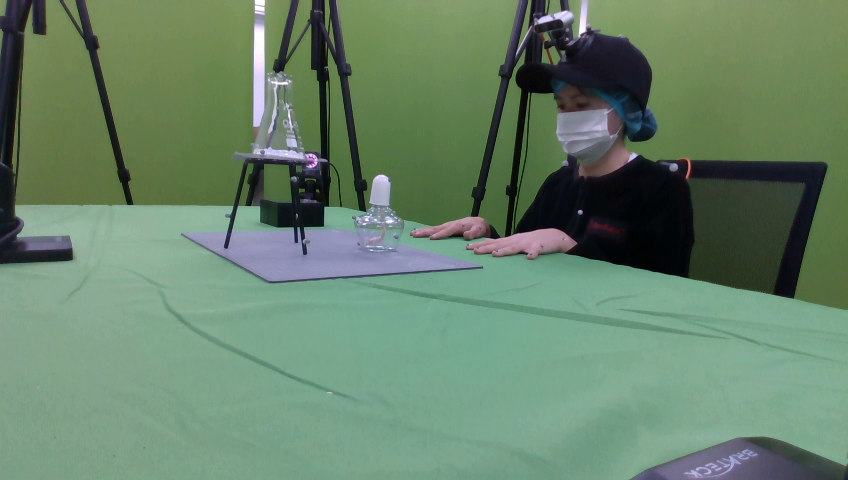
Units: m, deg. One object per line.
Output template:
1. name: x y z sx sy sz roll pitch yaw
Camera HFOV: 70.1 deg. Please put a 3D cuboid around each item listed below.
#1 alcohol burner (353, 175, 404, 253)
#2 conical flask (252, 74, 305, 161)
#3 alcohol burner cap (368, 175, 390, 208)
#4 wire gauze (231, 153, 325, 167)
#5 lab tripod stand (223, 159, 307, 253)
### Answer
1. alcohol burner: -0.069 -0.040 0.927 0.078 0.119 0.078 1 9 0
2. conical flask: -0.211 -0.176 0.879 0.075 0.122 0.075 3 6 0
3. alcohol burner cap: -0.067 -0.075 0.923 0.034 0.048 0.034 8 11 -1
4. wire gauze: -0.215 -0.117 0.882 0.125 0.011 0.121 3 7 -19
5. lab tripod stand: -0.220 -0.053 0.896 0.148 0.131 0.148 1 6 0
